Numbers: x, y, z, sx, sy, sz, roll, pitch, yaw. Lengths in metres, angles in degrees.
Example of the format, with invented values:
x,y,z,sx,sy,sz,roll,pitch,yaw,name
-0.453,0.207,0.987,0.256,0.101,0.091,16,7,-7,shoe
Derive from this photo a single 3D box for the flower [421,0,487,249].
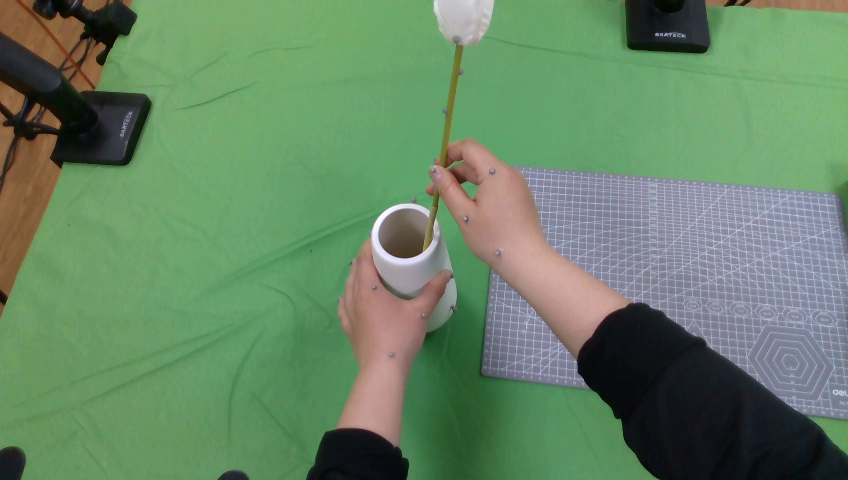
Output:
x,y,z,sx,sy,sz,roll,pitch,yaw,name
0.009,-0.060,0.531,0.044,0.364,0.038,-19,52,-24,flower

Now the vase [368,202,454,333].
x,y,z,sx,sy,sz,roll,pitch,yaw,name
-0.014,0.035,0.679,0.098,0.201,0.097,-1,64,1,vase
